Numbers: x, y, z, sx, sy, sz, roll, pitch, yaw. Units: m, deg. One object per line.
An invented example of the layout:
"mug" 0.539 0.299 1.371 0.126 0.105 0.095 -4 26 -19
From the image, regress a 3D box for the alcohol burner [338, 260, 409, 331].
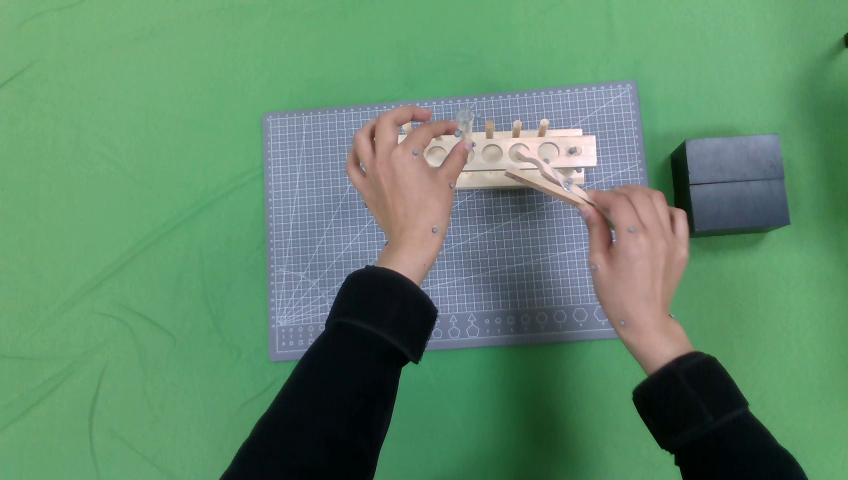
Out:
"alcohol burner" -0.056 0.057 0.644 0.078 0.119 0.077 0 80 2

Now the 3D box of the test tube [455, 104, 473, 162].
"test tube" 0.039 -0.101 0.612 0.017 0.151 0.017 0 79 3

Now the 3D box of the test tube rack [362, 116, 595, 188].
"test tube rack" 0.059 -0.102 0.673 0.242 0.085 0.066 -1 82 4

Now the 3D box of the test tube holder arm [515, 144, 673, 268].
"test tube holder arm" 0.159 -0.032 0.567 0.178 0.015 0.013 37 83 3

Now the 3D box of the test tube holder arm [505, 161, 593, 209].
"test tube holder arm" 0.118 -0.051 0.568 0.088 0.015 0.010 23 81 1
